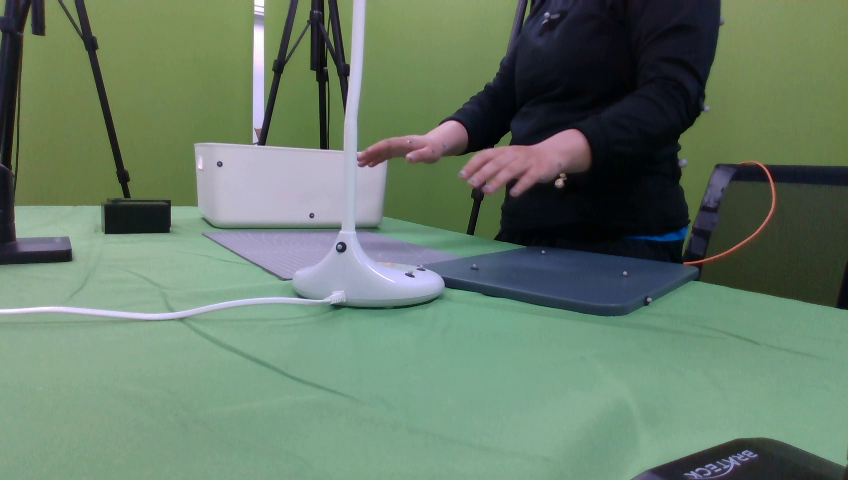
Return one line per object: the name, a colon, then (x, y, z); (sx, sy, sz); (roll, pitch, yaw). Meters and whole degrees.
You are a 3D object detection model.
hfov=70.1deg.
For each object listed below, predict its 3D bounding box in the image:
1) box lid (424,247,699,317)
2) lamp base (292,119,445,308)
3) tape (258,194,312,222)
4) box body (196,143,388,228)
box lid: (0.184, 0.044, 0.789); (0.262, 0.015, 0.373); (8, 9, 35)
lamp base: (-0.056, -0.030, 0.616); (0.160, 0.180, 0.179); (4, 10, 8)
tape: (-0.299, -0.070, 1.297); (0.117, 0.052, 0.117); (3, 7, 0)
box body: (-0.286, -0.118, 1.291); (0.366, 0.160, 0.253); (-1, 8, -27)
